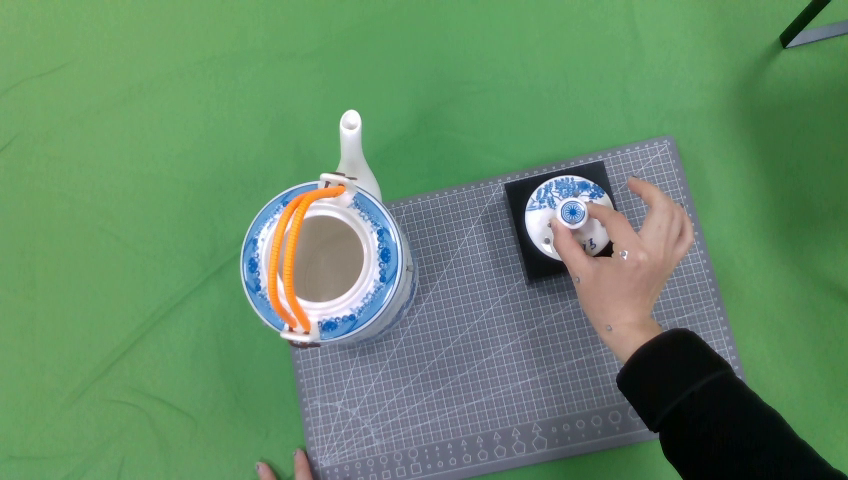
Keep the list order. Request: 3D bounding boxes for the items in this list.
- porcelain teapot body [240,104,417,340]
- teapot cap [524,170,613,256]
[{"bbox_3d":[-0.082,-0.012,0.549,0.145,0.226,0.205,9,81,7],"label":"porcelain teapot body"},{"bbox_3d":[0.137,-0.027,0.573,0.085,0.044,0.085,-1,78,7],"label":"teapot cap"}]
